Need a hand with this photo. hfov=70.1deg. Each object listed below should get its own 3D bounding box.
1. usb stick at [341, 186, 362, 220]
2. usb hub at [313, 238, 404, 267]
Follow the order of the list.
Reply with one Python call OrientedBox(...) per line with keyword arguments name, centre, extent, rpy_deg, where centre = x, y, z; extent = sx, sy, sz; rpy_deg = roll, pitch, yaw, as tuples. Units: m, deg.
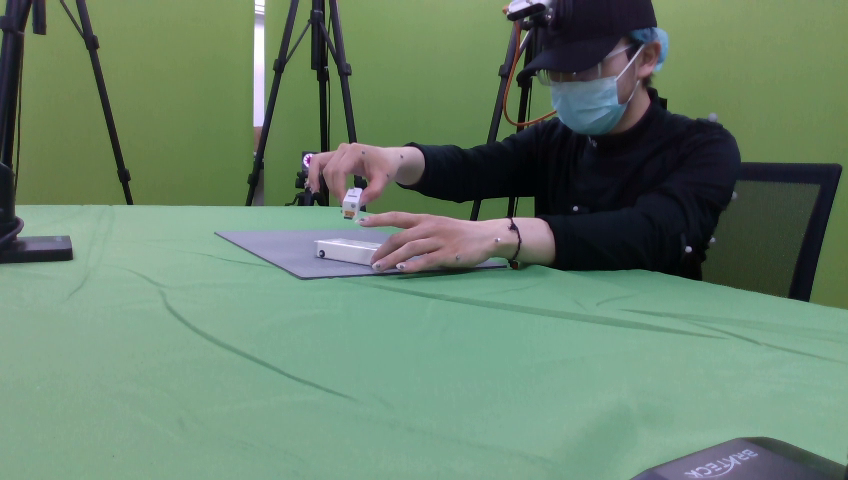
OrientedBox(name="usb stick", centre=(-0.103, -0.051, 0.846), extent=(0.021, 0.027, 0.059), rpy_deg=(8, 36, 0))
OrientedBox(name="usb hub", centre=(-0.090, 0.016, 0.820), extent=(0.124, 0.025, 0.050), rpy_deg=(7, 9, 34))
